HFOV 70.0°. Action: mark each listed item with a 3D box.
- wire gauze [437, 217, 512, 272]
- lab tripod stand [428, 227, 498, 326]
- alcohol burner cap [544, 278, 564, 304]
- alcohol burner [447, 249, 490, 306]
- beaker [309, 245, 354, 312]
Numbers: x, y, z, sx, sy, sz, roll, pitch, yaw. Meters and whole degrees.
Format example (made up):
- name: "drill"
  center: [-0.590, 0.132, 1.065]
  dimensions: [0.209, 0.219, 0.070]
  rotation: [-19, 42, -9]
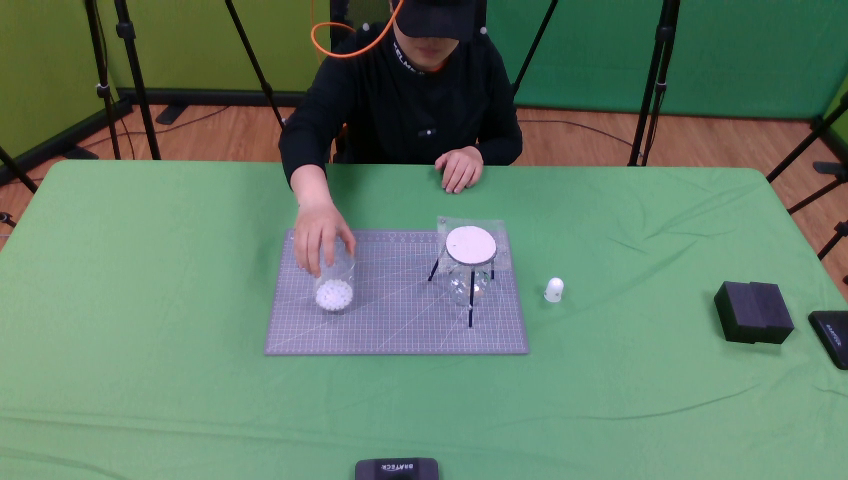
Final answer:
- name: "wire gauze"
  center: [0.083, 0.006, 1.025]
  dimensions: [0.121, 0.011, 0.124]
  rotation: [2, 47, -4]
- name: "lab tripod stand"
  center: [0.079, 0.056, 1.070]
  dimensions: [0.148, 0.132, 0.147]
  rotation: [3, 47, -3]
- name: "alcohol burner cap"
  center: [0.241, 0.091, 1.117]
  dimensions: [0.034, 0.048, 0.033]
  rotation: [2, 45, -2]
- name: "alcohol burner"
  center: [0.080, 0.062, 1.078]
  dimensions: [0.078, 0.120, 0.077]
  rotation: [1, 45, -1]
- name: "beaker"
  center: [-0.156, 0.067, 1.042]
  dimensions: [0.074, 0.101, 0.083]
  rotation: [13, 45, 5]
